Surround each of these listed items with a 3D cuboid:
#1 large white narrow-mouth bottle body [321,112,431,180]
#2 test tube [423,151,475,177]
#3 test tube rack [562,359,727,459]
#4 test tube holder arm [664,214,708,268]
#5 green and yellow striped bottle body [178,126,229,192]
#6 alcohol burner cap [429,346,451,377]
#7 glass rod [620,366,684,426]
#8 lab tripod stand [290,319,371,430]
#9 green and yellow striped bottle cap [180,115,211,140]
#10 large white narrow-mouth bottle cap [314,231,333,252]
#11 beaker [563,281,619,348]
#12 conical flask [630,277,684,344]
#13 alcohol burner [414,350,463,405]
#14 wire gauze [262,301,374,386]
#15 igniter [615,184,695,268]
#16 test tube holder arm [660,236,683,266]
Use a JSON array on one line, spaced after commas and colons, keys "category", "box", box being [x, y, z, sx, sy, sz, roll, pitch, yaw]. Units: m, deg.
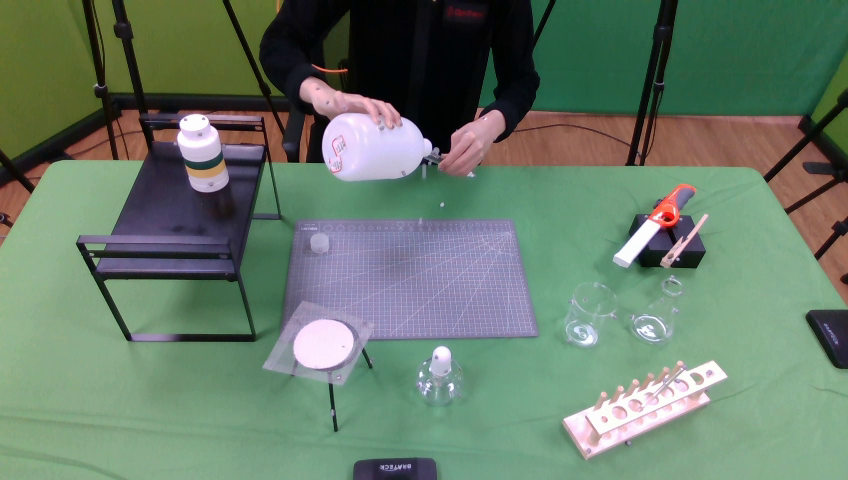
[{"category": "large white narrow-mouth bottle body", "box": [-0.062, -0.150, 0.970, 0.195, 0.102, 0.101, -9, 42, -47]}, {"category": "test tube", "box": [0.047, -0.138, 1.100, 0.151, 0.017, 0.017, 15, 28, -50]}, {"category": "test tube rack", "box": [0.341, 0.247, 0.940, 0.243, 0.085, 0.066, -16, 49, -18]}, {"category": "test tube holder arm", "box": [0.507, -0.001, 1.170, 0.013, 0.015, 0.178, 35, 54, 26]}, {"category": "green and yellow striped bottle body", "box": [-0.361, -0.142, 0.989, 0.063, 0.120, 0.063, 2, 46, -2]}, {"category": "alcohol burner cap", "box": [0.026, 0.180, 0.912, 0.034, 0.048, 0.033, 1, 47, -1]}, {"category": "glass rod", "box": [0.323, 0.227, 0.866, 0.008, 0.200, 0.008, 5, 51, -7]}, {"category": "lab tripod stand", "box": [-0.146, 0.193, 0.923, 0.148, 0.132, 0.147, 1, 47, -1]}, {"category": "green and yellow striped bottle cap", "box": [-0.358, -0.177, 0.951, 0.045, 0.020, 0.045, 2, 45, -2]}, {"category": "large white narrow-mouth bottle cap", "box": [-0.195, 0.003, 1.178, 0.038, 0.024, 0.037, 2, 45, -2]}, {"category": "beaker", "box": [0.283, 0.129, 1.041, 0.074, 0.101, 0.083, 11, 46, 6]}, {"category": "conical flask", "box": [0.409, 0.117, 1.045, 0.075, 0.122, 0.075, 2, 46, -2]}, {"category": "alcohol burner", "box": [0.023, 0.205, 0.939, 0.078, 0.120, 0.077, 1, 48, -1]}, {"category": "wire gauze", "box": [-0.150, 0.148, 0.873, 0.121, 0.011, 0.124, 14, 46, 12]}, {"category": "igniter", "box": [0.459, -0.035, 1.197, 0.057, 0.025, 0.276, 33, 55, 27]}, {"category": "test tube holder arm", "box": [0.473, 0.020, 1.149, 0.010, 0.015, 0.088, 36, 54, 26]}]
